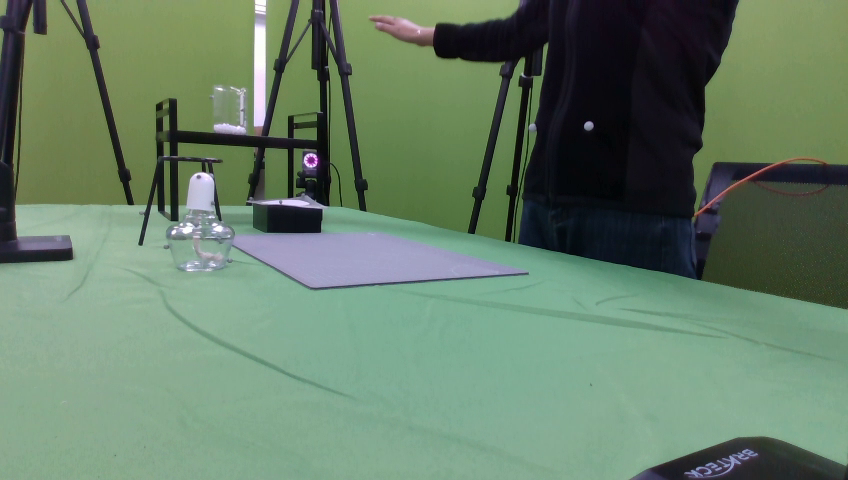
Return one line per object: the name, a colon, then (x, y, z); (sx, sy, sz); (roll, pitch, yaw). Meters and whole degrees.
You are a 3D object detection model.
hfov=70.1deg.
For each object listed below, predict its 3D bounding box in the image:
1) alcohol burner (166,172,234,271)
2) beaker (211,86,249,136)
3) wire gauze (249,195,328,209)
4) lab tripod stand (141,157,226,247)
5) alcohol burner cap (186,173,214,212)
alcohol burner: (-0.271, -0.023, 0.735); (0.078, 0.119, 0.078); (2, 5, 0)
beaker: (-0.413, -0.274, 1.297); (0.074, 0.100, 0.083); (-5, 11, -44)
wire gauze: (-0.260, -0.071, 1.139); (0.126, 0.011, 0.121); (-3, 12, -28)
lab tripod stand: (-0.353, -0.060, 0.920); (0.148, 0.131, 0.148); (1, 6, 0)
alcohol burner cap: (-0.268, -0.057, 0.730); (0.034, 0.048, 0.034); (5, 2, 0)
